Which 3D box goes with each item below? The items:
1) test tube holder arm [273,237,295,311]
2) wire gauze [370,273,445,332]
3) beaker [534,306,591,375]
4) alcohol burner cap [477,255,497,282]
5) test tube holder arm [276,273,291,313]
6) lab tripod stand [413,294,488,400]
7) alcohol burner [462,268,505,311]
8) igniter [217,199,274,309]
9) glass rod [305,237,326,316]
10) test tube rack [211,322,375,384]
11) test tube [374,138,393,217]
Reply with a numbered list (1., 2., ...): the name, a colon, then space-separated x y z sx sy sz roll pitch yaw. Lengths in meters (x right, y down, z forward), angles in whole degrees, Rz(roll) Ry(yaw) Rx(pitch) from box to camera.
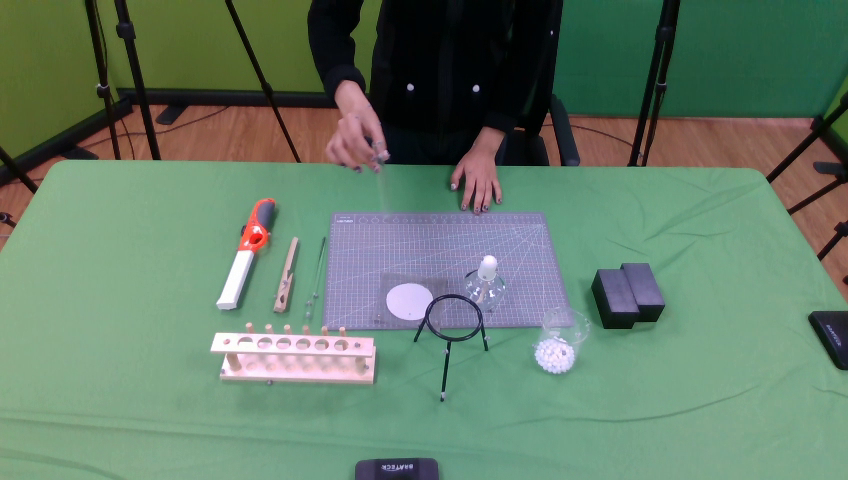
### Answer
1. test tube holder arm: -0.259 0.059 1.123 0.013 0.015 0.177 28 38 -26
2. wire gauze: -0.028 0.108 1.100 0.125 0.011 0.121 7 45 4
3. beaker: 0.226 0.168 1.002 0.084 0.101 0.073 -5 47 -10
4. alcohol burner cap: 0.110 0.047 1.046 0.034 0.048 0.033 2 52 -2
5. test tube holder arm: -0.254 0.093 1.094 0.010 0.015 0.087 28 38 -26
6. lab tripod stand: 0.045 0.159 0.972 0.148 0.132 0.147 2 44 -2
7. alcohol burner: 0.108 0.071 1.072 0.078 0.119 0.077 4 45 -4
8. igniter: -0.336 0.017 1.153 0.057 0.025 0.275 -2 45 8
9. glass rod: -0.202 0.063 1.131 0.008 0.008 0.198 4 44 0
10. test tube rack: -0.202 0.176 0.969 0.242 0.085 0.066 3 46 -2
11. test tube: -0.067 -0.101 1.015 0.017 0.151 0.017 -3 38 3
